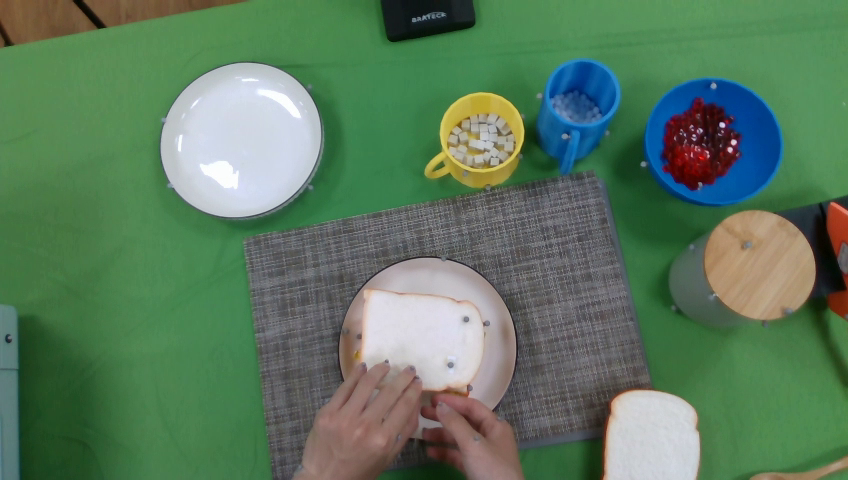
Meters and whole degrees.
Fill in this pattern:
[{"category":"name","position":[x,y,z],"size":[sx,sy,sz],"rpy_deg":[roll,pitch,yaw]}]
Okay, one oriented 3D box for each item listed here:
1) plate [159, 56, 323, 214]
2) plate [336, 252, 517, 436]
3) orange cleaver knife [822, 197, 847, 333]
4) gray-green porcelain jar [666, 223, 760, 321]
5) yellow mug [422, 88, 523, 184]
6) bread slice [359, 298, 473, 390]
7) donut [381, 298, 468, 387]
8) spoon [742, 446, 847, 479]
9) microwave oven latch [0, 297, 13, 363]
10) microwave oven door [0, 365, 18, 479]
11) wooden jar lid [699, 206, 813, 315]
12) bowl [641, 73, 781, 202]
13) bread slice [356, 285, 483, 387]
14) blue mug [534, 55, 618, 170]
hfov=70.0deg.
[{"category":"plate","position":[-0.229,-0.131,0.772],"size":[0.207,0.039,0.206],"rpy_deg":[-1,79,4]},{"category":"plate","position":[0.003,0.118,0.705],"size":[0.209,0.038,0.208],"rpy_deg":[-1,79,3]},{"category":"orange cleaver knife","position":[0.465,0.059,0.668],"size":[0.012,0.077,0.212],"rpy_deg":[-12,105,2]},{"category":"gray-green porcelain jar","position":[0.330,0.033,0.659],"size":[0.106,0.127,0.105],"rpy_deg":[-1,79,4]},{"category":"yellow mug","position":[0.055,-0.117,0.737],"size":[0.131,0.064,0.099],"rpy_deg":[-31,78,-1]},{"category":"bread slice","position":[-0.010,0.119,0.708],"size":[0.131,0.019,0.104],"rpy_deg":[2,79,2]},{"category":"donut","position":[0.001,0.114,0.677],"size":[0.099,0.048,0.098],"rpy_deg":[-1,77,4]},{"category":"spoon","position":[0.439,0.244,0.664],"size":[0.194,0.022,0.041],"rpy_deg":[-21,60,0]},{"category":"microwave oven latch","position":[-0.512,0.107,0.724],"size":[0.030,0.029,0.079],"rpy_deg":[-6,79,2]},{"category":"microwave oven door","position":[-0.490,0.300,0.582],"size":[0.039,0.245,0.354],"rpy_deg":[-9,78,2]},{"category":"wooden jar lid","position":[0.325,0.020,0.598],"size":[0.108,0.021,0.108],"rpy_deg":[0,81,1]},{"category":"bowl","position":[0.324,-0.109,0.712],"size":[0.151,0.077,0.150],"rpy_deg":[-1,79,4]},{"category":"bread slice","position":[-0.005,0.102,0.647],"size":[0.134,0.018,0.106],"rpy_deg":[0,86,-2]},{"category":"blue mug","position":[0.173,-0.140,0.714],"size":[0.082,0.106,0.116],"rpy_deg":[10,80,6]}]
